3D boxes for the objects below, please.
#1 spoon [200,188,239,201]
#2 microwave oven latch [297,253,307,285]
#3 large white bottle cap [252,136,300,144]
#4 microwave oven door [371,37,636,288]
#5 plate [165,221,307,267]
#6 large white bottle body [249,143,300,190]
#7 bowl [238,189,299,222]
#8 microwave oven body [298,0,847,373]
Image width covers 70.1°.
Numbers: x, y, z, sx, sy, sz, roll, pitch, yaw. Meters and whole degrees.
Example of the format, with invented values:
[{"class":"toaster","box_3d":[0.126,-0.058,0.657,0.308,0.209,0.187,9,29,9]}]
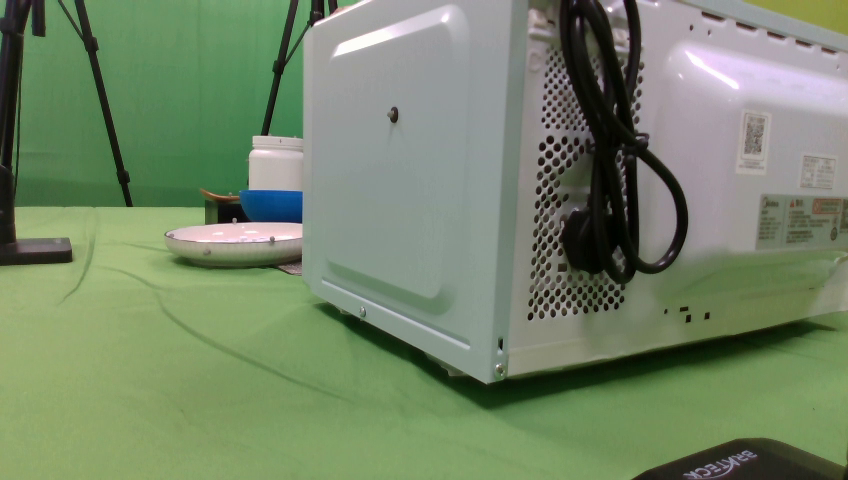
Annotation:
[{"class":"spoon","box_3d":[-0.339,-0.080,1.190,0.194,0.021,0.041,5,2,-19]},{"class":"microwave oven latch","box_3d":[-0.082,0.027,0.583,0.079,0.029,0.030,-1,7,-33]},{"class":"large white bottle cap","box_3d":[-0.336,-0.228,1.391,0.115,0.018,0.115,2,6,0]},{"class":"microwave oven door","box_3d":[0.109,-0.080,0.686,0.358,0.243,0.039,-2,9,-33]},{"class":"plate","box_3d":[-0.241,0.004,0.829,0.209,0.038,0.209,0,9,0]},{"class":"large white bottle body","box_3d":[-0.338,-0.144,1.401,0.131,0.184,0.130,2,7,0]},{"class":"bowl","box_3d":[-0.245,-0.045,1.053,0.151,0.077,0.151,2,8,0]},{"class":"microwave oven body","box_3d":[0.151,-0.055,0.543,0.444,0.260,0.324,-1,7,-33]}]
